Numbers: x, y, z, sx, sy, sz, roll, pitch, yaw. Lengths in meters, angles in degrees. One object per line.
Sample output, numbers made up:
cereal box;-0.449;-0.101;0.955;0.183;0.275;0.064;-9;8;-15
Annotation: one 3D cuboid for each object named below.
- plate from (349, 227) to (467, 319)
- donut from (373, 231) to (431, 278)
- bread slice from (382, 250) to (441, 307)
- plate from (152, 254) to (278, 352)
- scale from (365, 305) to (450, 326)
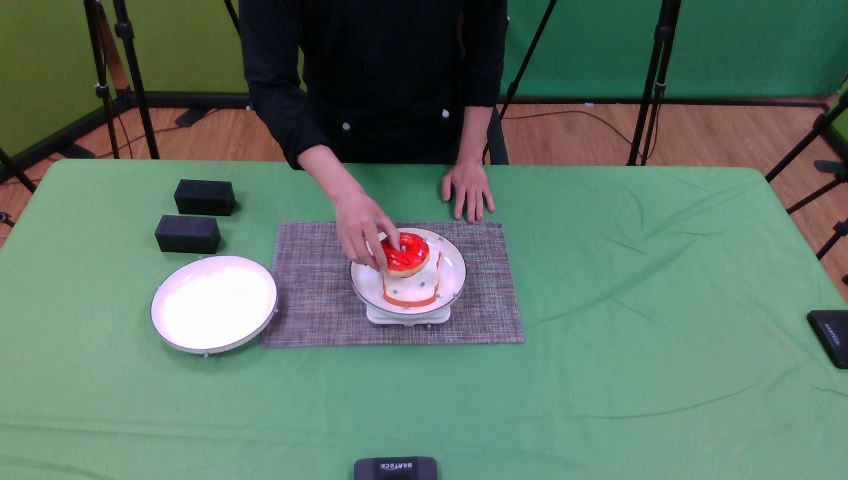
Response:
plate;-0.029;0.061;1.077;0.209;0.038;0.208;2;46;-2
donut;-0.038;0.022;1.021;0.099;0.048;0.098;-3;39;3
bread slice;-0.023;0.064;1.078;0.105;0.019;0.130;2;45;0
plate;-0.357;0.111;1.052;0.208;0.039;0.206;2;46;-2
scale;-0.032;0.071;1.113;0.149;0.032;0.199;0;46;-4
